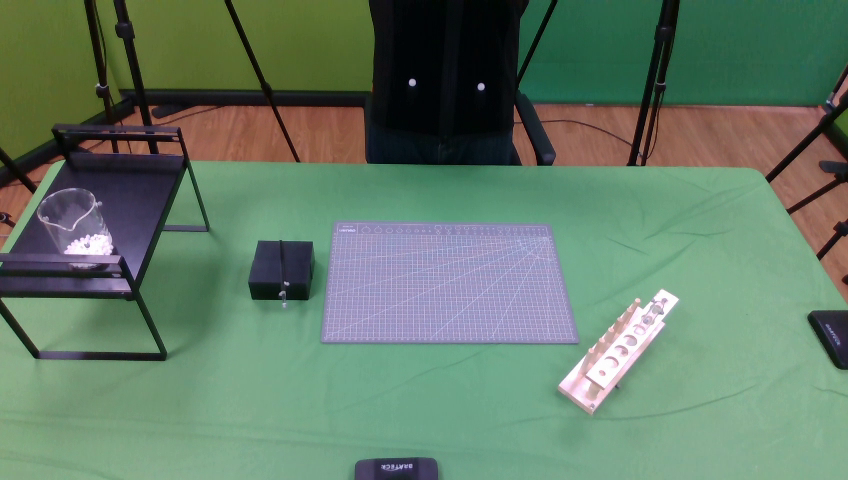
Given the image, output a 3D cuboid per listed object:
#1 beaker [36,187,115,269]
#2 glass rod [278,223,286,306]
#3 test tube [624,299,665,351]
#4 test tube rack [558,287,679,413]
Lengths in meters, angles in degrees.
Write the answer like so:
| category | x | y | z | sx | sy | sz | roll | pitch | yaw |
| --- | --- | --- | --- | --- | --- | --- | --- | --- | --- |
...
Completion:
| category | x | y | z | sx | sy | sz | roll | pitch | yaw |
| --- | --- | --- | --- | --- | --- | --- | --- | --- | --- |
| beaker | -0.493 | -0.012 | 0.867 | 0.074 | 0.101 | 0.083 | -18 | 51 | -18 |
| glass rod | -0.255 | 0.039 | 1.081 | 0.008 | 0.008 | 0.198 | -7 | 47 | -10 |
| test tube | 0.350 | 0.140 | 0.970 | 0.017 | 0.151 | 0.017 | 2 | 52 | -3 |
| test tube rack | 0.326 | 0.170 | 1.009 | 0.066 | 0.085 | 0.242 | 36 | 54 | 26 |
